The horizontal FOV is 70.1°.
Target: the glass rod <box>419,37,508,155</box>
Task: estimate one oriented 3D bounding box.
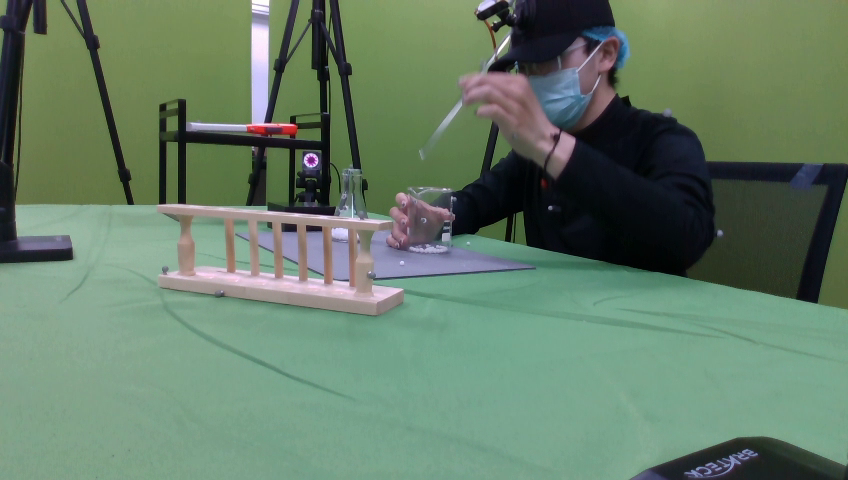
[{"bbox_3d":[0.053,-0.198,0.845,0.008,0.199,0.008,35,16,-11],"label":"glass rod"}]

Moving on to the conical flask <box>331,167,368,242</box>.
[{"bbox_3d":[-0.123,-0.061,1.019,0.075,0.122,0.075,2,7,0],"label":"conical flask"}]

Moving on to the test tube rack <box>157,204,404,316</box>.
[{"bbox_3d":[-0.143,0.013,0.599,0.242,0.085,0.067,5,8,19],"label":"test tube rack"}]

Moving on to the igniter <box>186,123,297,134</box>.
[{"bbox_3d":[-0.393,-0.248,1.341,0.057,0.025,0.278,9,14,38],"label":"igniter"}]

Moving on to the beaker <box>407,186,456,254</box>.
[{"bbox_3d":[0.008,-0.032,0.926,0.073,0.100,0.084,5,9,27],"label":"beaker"}]
